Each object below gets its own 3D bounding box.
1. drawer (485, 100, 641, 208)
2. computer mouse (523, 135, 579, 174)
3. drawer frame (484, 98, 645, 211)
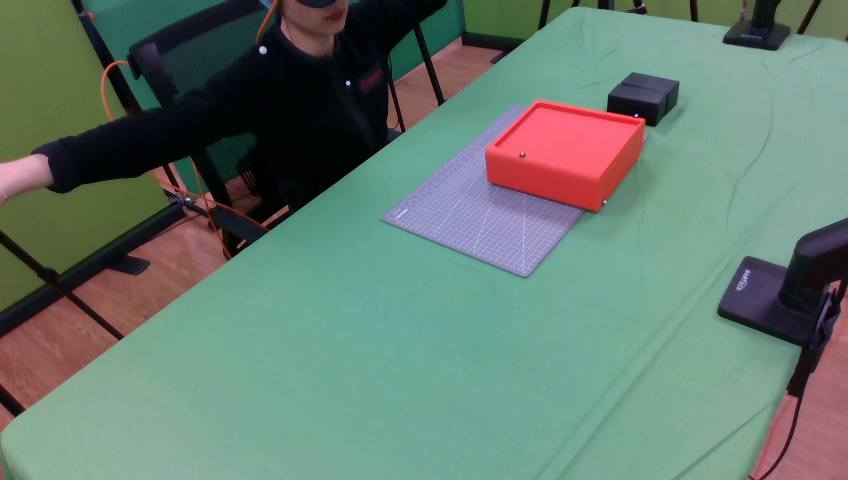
[{"bbox_3d":[0.246,-0.158,1.073,0.210,0.073,0.195,20,48,30],"label":"drawer"},{"bbox_3d":[0.232,-0.163,1.100,0.062,0.041,0.117,19,41,34],"label":"computer mouse"},{"bbox_3d":[0.248,-0.158,1.070,0.212,0.083,0.202,20,47,29],"label":"drawer frame"}]
